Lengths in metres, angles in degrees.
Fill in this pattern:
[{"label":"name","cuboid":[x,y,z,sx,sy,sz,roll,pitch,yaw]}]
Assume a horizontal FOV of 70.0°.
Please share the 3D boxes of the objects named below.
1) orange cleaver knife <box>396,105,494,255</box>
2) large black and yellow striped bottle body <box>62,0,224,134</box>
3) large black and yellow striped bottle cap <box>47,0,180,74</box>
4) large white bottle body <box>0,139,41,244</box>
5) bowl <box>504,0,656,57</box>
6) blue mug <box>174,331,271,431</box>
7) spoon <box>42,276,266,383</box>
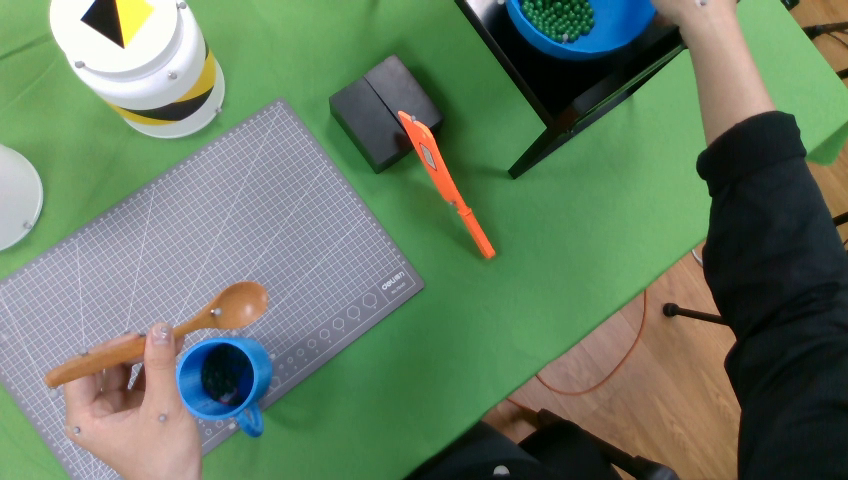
[{"label":"orange cleaver knife","cuboid":[0.026,-0.069,0.732,0.012,0.076,0.213,-38,120,-11]},{"label":"large black and yellow striped bottle body","cuboid":[-0.302,-0.203,0.657,0.131,0.184,0.130,1,82,-6]},{"label":"large black and yellow striped bottle cap","cuboid":[-0.293,-0.216,0.574,0.115,0.019,0.114,1,83,-9]},{"label":"large white bottle body","cuboid":[-0.500,-0.065,0.614,0.131,0.185,0.130,1,82,-6]},{"label":"bowl","cuboid":[0.140,-0.241,0.591,0.152,0.077,0.151,1,83,-7]},{"label":"blue mug","cuboid":[-0.208,0.156,0.663,0.082,0.106,0.116,-28,87,-10]},{"label":"spoon","cuboid":[-0.190,0.065,0.459,0.021,0.194,0.042,9,105,22]}]
